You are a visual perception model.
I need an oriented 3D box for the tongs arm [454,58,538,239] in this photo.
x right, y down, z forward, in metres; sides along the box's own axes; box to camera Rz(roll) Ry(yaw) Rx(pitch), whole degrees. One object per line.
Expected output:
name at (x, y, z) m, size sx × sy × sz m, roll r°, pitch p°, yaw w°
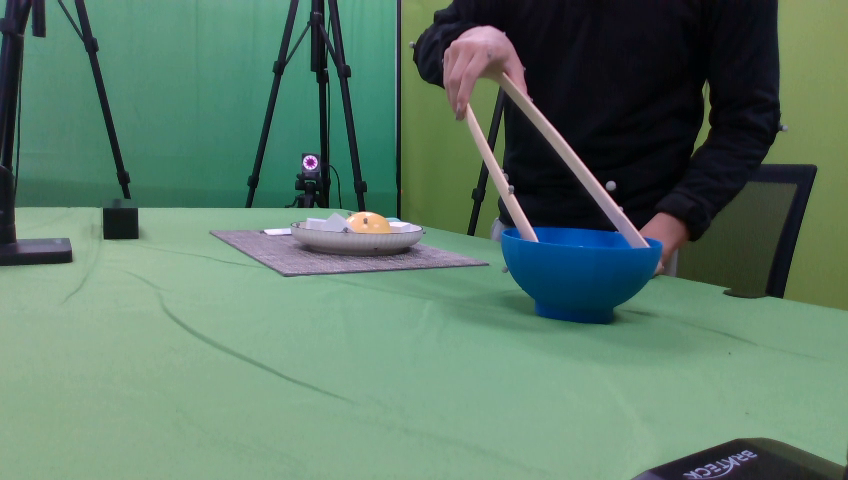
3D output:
tongs arm at (0.090, -0.100, 0.680) m, size 0.051 × 0.026 × 0.383 m, roll -16°, pitch 46°, yaw -4°

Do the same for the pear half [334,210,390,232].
pear half at (-0.108, -0.017, 0.919) m, size 0.110 × 0.056 × 0.076 m, roll -4°, pitch 5°, yaw -20°

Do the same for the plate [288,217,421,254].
plate at (-0.109, -0.007, 0.956) m, size 0.208 × 0.039 × 0.207 m, roll 2°, pitch 7°, yaw 0°

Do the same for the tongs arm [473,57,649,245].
tongs arm at (0.141, -0.113, 0.685) m, size 0.028 × 0.028 × 0.386 m, roll -22°, pitch 47°, yaw -5°

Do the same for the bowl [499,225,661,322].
bowl at (0.145, 0.032, 0.583) m, size 0.151 × 0.077 × 0.151 m, roll 2°, pitch 7°, yaw 0°

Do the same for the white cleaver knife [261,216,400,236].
white cleaver knife at (-0.169, -0.021, 1.156) m, size 0.288 × 0.021 × 0.065 m, roll -7°, pitch 20°, yaw -33°

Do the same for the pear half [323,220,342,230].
pear half at (-0.126, -0.019, 1.001) m, size 0.088 × 0.031 × 0.070 m, roll 8°, pitch 4°, yaw 0°
